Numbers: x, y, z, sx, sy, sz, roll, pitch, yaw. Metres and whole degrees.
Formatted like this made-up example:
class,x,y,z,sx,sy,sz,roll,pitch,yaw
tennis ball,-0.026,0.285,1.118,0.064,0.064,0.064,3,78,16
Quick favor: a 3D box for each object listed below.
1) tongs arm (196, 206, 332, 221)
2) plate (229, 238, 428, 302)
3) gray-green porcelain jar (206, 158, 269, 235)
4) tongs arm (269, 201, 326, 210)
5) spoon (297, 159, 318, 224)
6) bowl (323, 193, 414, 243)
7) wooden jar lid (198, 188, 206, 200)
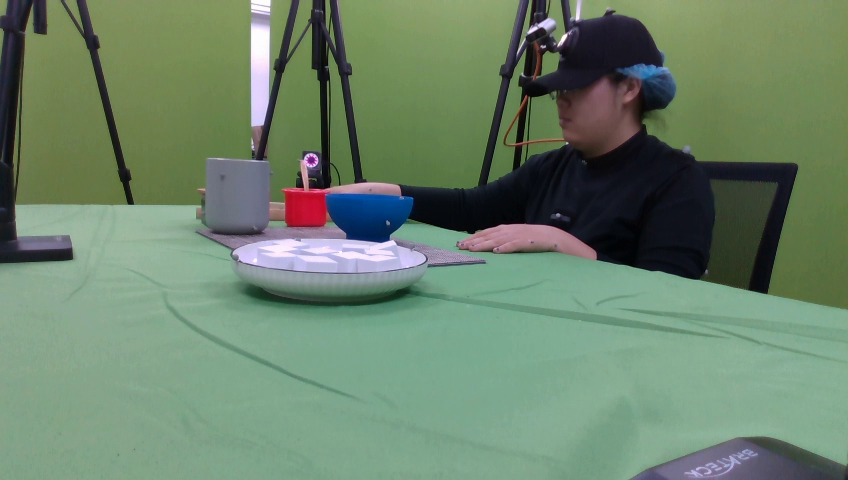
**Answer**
class,x,y,z,sx,sy,sz,roll,pitch,yaw
tongs arm,-0.294,-0.057,1.330,0.389,0.028,0.028,0,5,-20
plate,-0.099,0.032,0.651,0.209,0.038,0.209,3,8,0
gray-green porcelain jar,-0.322,-0.076,1.048,0.106,0.126,0.106,3,7,0
tongs arm,-0.308,-0.073,1.410,0.386,0.026,0.050,3,8,-6
spoon,-0.244,-0.103,1.251,0.042,0.021,0.193,1,51,-17
bowl,-0.093,-0.037,1.015,0.151,0.077,0.151,2,7,0
wooden jar lid,-0.382,-0.088,1.175,0.108,0.020,0.108,3,8,0
